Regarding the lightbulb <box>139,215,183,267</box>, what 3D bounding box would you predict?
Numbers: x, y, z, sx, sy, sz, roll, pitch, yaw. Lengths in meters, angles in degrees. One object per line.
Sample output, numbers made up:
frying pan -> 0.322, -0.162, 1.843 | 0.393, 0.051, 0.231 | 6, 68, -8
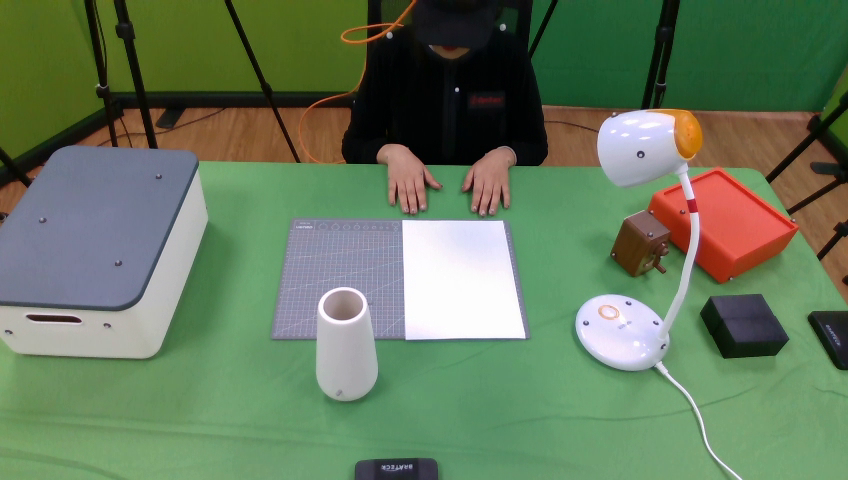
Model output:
lightbulb -> -0.496, 0.003, 1.131 | 0.059, 0.060, 0.107 | 18, 63, 13

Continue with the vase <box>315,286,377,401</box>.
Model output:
vase -> -0.119, 0.159, 0.911 | 0.098, 0.201, 0.097 | 2, 47, -2

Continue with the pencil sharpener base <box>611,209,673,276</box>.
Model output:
pencil sharpener base -> 0.416, 0.007, 1.158 | 0.061, 0.107, 0.076 | -21, 51, -22

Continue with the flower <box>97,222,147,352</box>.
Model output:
flower -> -0.557, 0.069, 1.089 | 0.044, 0.038, 0.359 | -24, 47, -19

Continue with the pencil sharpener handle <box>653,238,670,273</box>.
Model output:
pencil sharpener handle -> 0.444, 0.030, 1.120 | 0.036, 0.068, 0.030 | -25, 52, -18

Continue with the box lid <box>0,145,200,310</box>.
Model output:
box lid -> -0.541, -0.037, 0.993 | 0.263, 0.015, 0.369 | 3, 45, -2

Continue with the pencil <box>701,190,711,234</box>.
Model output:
pencil -> 0.584, -0.059, 1.256 | 0.012, 0.012, 0.193 | 16, 34, 11

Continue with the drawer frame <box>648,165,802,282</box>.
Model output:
drawer frame -> 0.603, -0.040, 1.233 | 0.202, 0.083, 0.212 | -21, 51, -23

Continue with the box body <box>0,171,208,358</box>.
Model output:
box body -> -0.546, 0.017, 1.045 | 0.254, 0.161, 0.361 | 2, 46, -2

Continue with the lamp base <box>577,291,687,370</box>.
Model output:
lamp base -> 0.361, 0.110, 1.003 | 0.160, 0.181, 0.178 | -31, 57, -28

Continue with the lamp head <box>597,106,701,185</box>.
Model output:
lamp head -> 0.328, -0.138, 0.865 | 0.112, 0.113, 0.122 | -36, 20, -32

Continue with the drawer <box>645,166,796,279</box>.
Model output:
drawer -> 0.600, -0.041, 1.236 | 0.195, 0.073, 0.210 | -21, 51, -23
